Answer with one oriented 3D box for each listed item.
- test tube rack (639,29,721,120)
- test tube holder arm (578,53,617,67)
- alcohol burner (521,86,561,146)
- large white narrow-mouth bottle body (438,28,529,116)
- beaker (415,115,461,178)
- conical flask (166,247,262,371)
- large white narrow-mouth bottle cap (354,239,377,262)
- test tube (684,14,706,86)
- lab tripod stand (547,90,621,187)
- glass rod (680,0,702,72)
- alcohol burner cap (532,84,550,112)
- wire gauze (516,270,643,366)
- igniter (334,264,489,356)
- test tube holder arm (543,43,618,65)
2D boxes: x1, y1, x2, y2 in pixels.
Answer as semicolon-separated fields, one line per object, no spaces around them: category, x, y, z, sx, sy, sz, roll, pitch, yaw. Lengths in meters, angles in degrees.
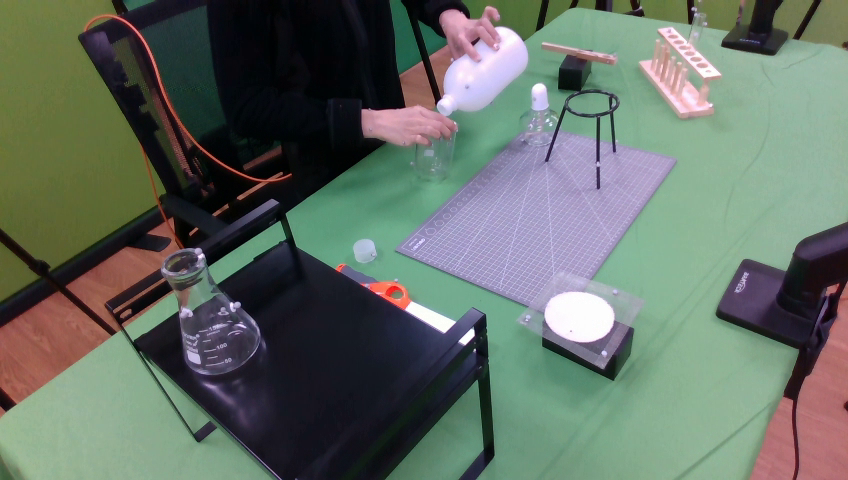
test tube rack;0.527;-0.351;1.262;0.067;0.085;0.241;-8;40;1
test tube holder arm;0.376;-0.393;1.314;0.087;0.015;0.010;26;51;32
alcohol burner;0.223;-0.241;1.155;0.078;0.119;0.077;-5;43;5
large white narrow-mouth bottle body;0.099;-0.298;1.113;0.101;0.102;0.195;31;68;37
beaker;0.025;-0.172;1.109;0.084;0.100;0.073;-6;30;-27
conical flask;-0.208;0.064;0.584;0.075;0.122;0.075;-5;40;4
large white narrow-mouth bottle cap;-0.095;0.017;0.981;0.038;0.024;0.037;-4;40;4
test tube;0.540;-0.378;1.215;0.017;0.151;0.017;-2;44;3
lab tripod stand;0.289;-0.184;1.062;0.148;0.132;0.147;-6;41;6
glass rod;0.542;-0.417;1.233;0.008;0.200;0.008;1;40;0
alcohol burner cap;0.218;-0.269;1.133;0.034;0.048;0.033;-8;36;7
wire gauze;0.200;0.093;0.777;0.124;0.011;0.122;23;49;32
igniter;-0.030;0.095;0.871;0.274;0.025;0.057;22;59;31
test tube holder arm;0.344;-0.413;1.340;0.177;0.015;0.013;25;50;31
